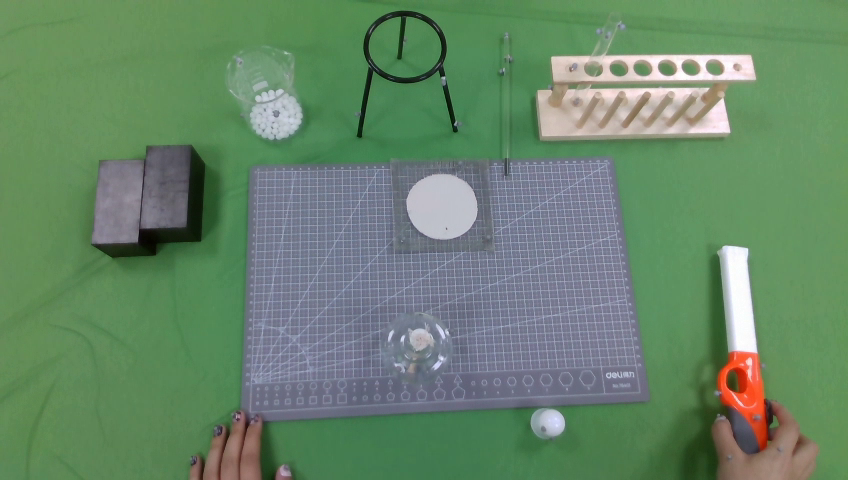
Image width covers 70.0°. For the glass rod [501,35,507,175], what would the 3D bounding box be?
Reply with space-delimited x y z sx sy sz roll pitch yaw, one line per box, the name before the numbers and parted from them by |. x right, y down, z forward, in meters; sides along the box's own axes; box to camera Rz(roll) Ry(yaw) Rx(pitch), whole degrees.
glass rod | 0.103 -0.176 0.776 0.008 0.008 0.198 3 75 -2

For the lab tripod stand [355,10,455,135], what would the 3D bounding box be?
lab tripod stand | -0.026 -0.194 0.710 0.148 0.132 0.147 0 72 -1

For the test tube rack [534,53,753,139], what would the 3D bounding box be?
test tube rack | 0.266 -0.176 0.746 0.242 0.085 0.066 -2 73 -3

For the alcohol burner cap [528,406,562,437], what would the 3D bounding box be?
alcohol burner cap | 0.133 0.194 0.652 0.034 0.048 0.033 1 70 -1

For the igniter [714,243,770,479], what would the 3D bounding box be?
igniter | 0.351 0.133 0.677 0.057 0.025 0.274 7 69 -1

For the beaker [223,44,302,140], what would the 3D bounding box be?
beaker | -0.183 -0.170 0.713 0.084 0.101 0.073 -40 79 -14

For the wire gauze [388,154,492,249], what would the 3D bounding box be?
wire gauze | 0.019 -0.047 0.732 0.125 0.011 0.120 0 72 -2

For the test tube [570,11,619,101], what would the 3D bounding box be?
test tube | 0.194 -0.207 0.700 0.017 0.151 0.017 1 70 -1

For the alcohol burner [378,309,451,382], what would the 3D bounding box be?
alcohol burner | -0.009 0.106 0.630 0.078 0.119 0.077 1 71 -4
